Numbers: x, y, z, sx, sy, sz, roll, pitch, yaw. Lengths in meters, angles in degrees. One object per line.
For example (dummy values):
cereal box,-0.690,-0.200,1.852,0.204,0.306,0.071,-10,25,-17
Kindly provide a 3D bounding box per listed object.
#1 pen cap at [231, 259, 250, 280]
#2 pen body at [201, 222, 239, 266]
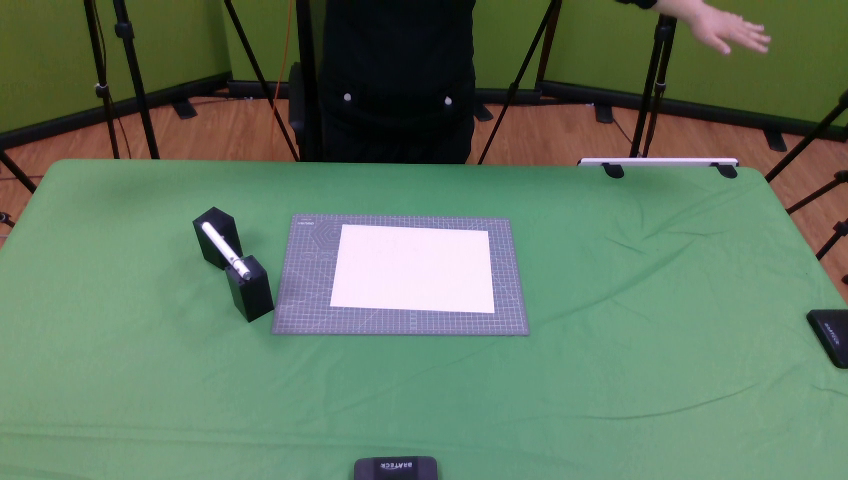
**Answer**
pen cap,-0.299,0.049,0.991,0.017,0.017,0.038,-29,55,-28
pen body,-0.338,0.014,1.023,0.017,0.017,0.143,-29,53,-28
